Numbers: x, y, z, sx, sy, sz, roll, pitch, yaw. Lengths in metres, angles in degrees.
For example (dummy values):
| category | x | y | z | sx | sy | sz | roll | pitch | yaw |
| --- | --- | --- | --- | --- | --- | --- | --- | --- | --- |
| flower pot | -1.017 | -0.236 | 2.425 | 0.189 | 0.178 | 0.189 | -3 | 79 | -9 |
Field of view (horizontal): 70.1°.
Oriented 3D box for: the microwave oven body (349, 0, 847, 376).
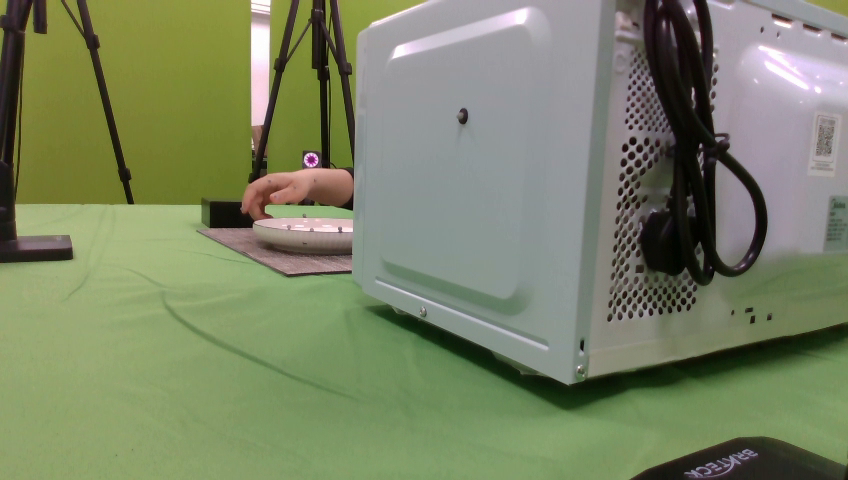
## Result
| category | x | y | z | sx | sy | sz | roll | pitch | yaw |
| --- | --- | --- | --- | --- | --- | --- | --- | --- | --- |
| microwave oven body | 0.199 | -0.053 | 0.540 | 0.444 | 0.260 | 0.324 | -1 | 7 | -32 |

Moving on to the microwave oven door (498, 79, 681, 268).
| category | x | y | z | sx | sy | sz | roll | pitch | yaw |
| --- | --- | --- | --- | --- | --- | --- | --- | --- | --- |
| microwave oven door | 0.230 | -0.105 | 0.924 | 0.039 | 0.243 | 0.354 | -1 | 8 | -26 |

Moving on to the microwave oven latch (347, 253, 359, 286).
| category | x | y | z | sx | sy | sz | roll | pitch | yaw |
| --- | --- | --- | --- | --- | --- | --- | --- | --- | --- |
| microwave oven latch | -0.034 | 0.028 | 0.581 | 0.079 | 0.029 | 0.030 | -1 | 7 | -32 |

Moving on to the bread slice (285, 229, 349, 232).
| category | x | y | z | sx | sy | sz | roll | pitch | yaw |
| --- | --- | --- | --- | --- | --- | --- | --- | --- | --- |
| bread slice | -0.153 | -0.005 | 0.921 | 0.132 | 0.019 | 0.104 | -1 | 7 | -30 |

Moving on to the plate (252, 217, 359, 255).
| category | x | y | z | sx | sy | sz | roll | pitch | yaw |
| --- | --- | --- | --- | --- | --- | --- | --- | --- | --- |
| plate | -0.155 | -0.007 | 0.924 | 0.209 | 0.038 | 0.209 | 3 | 7 | 0 |
